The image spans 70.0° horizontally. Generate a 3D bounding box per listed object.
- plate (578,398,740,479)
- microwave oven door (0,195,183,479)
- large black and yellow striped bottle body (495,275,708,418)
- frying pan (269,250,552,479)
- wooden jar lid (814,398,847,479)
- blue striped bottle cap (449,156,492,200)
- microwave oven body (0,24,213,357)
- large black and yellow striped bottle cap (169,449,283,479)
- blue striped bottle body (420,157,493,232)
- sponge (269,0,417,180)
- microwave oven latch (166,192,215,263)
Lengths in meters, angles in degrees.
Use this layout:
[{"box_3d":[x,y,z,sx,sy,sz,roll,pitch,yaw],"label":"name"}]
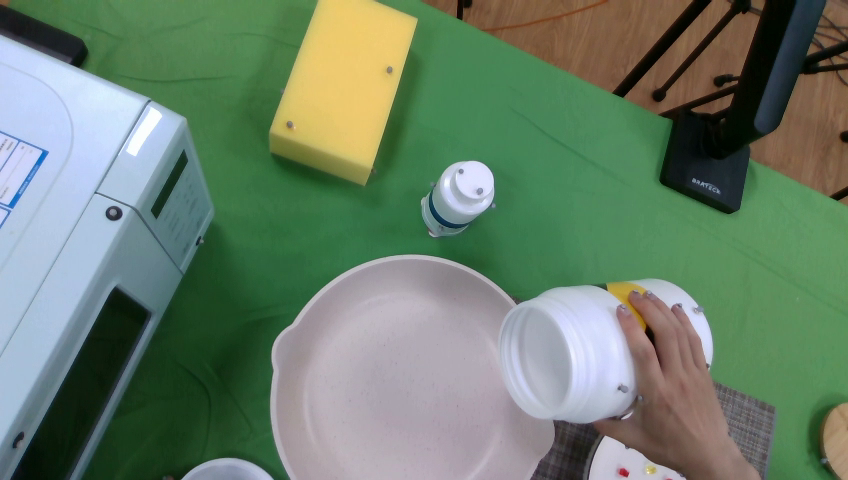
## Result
[{"box_3d":[0.271,0.291,0.708,0.210,0.038,0.208,3,76,-13],"label":"plate"},{"box_3d":[-0.301,0.153,0.471,0.039,0.244,0.354,23,72,-7],"label":"microwave oven door"},{"box_3d":[0.176,0.105,0.610,0.185,0.130,0.130,-2,76,-31],"label":"large black and yellow striped bottle body"},{"box_3d":[-0.045,0.247,0.603,0.307,0.103,0.485,22,64,-6],"label":"frying pan"},{"box_3d":[0.562,0.264,0.802,0.109,0.021,0.108,3,77,-13],"label":"wooden jar lid"},{"box_3d":[0.050,-0.066,0.642,0.045,0.020,0.044,3,78,-13],"label":"blue striped bottle cap"},{"box_3d":[-0.420,0.059,0.468,0.327,0.260,0.439,24,73,-8],"label":"microwave oven body"},{"box_3d":[-0.187,0.249,0.569,0.115,0.019,0.114,13,31,-8],"label":"large black and yellow striped bottle cap"},{"box_3d":[0.038,-0.053,0.690,0.063,0.121,0.063,3,76,-13],"label":"blue striped bottle body"},{"box_3d":[-0.095,-0.190,0.719,0.118,0.061,0.206,18,74,-10],"label":"sponge"},{"box_3d":[-0.247,-0.017,0.633,0.030,0.029,0.079,26,73,-7],"label":"microwave oven latch"}]
